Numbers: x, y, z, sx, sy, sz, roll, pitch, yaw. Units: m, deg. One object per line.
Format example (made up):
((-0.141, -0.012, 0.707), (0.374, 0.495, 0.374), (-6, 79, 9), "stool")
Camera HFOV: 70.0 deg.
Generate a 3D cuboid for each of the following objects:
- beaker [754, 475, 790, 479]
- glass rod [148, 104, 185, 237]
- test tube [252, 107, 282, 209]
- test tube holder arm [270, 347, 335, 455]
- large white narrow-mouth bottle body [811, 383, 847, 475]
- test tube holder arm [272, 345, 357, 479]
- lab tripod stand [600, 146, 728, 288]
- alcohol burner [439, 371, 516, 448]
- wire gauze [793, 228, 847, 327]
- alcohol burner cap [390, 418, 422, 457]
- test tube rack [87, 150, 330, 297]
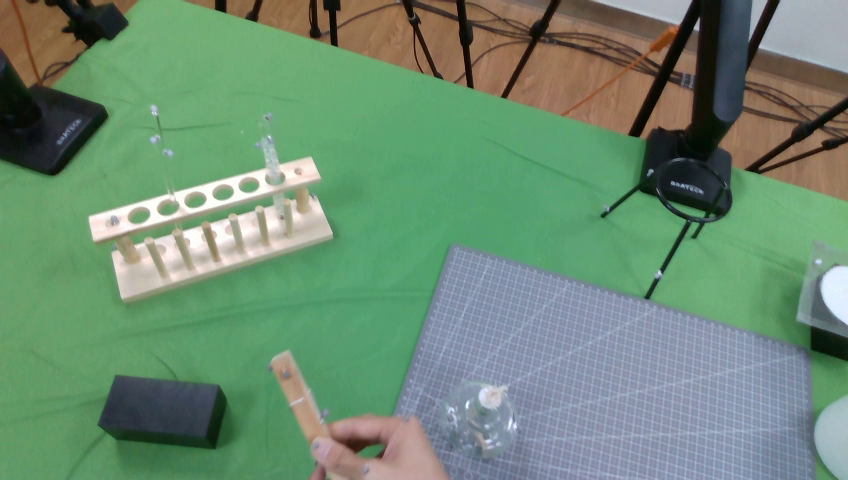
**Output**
((0.303, 0.267, 0.565), (0.084, 0.101, 0.073), (14, 58, 4), "beaker")
((-0.269, -0.061, 0.636), (0.008, 0.201, 0.008), (6, 50, -7), "glass rod")
((-0.173, -0.086, 0.680), (0.017, 0.151, 0.017), (2, 52, -3), "test tube")
((-0.092, 0.124, 0.462), (0.015, 0.010, 0.088), (-24, 98, 4), "test tube holder arm")
((0.481, 0.168, 0.591), (0.102, 0.196, 0.101), (2, 58, -4), "large white narrow-mouth bottle body")
((-0.073, 0.164, 0.474), (0.015, 0.013, 0.179), (-24, 98, 4), "test tube holder arm")
((0.292, -0.034, 0.730), (0.148, 0.132, 0.147), (3, 60, -5), "lab tripod stand")
((0.056, 0.161, 0.594), (0.078, 0.120, 0.077), (4, 58, -6), "alcohol burner")
((0.505, 0.054, 0.715), (0.121, 0.011, 0.124), (23, 59, 8), "wire gauze")
((-0.018, 0.196, 0.607), (0.034, 0.048, 0.033), (2, 59, -2), "alcohol burner cap")
((-0.236, -0.021, 0.693), (0.243, 0.086, 0.066), (-19, 63, -17), "test tube rack")
